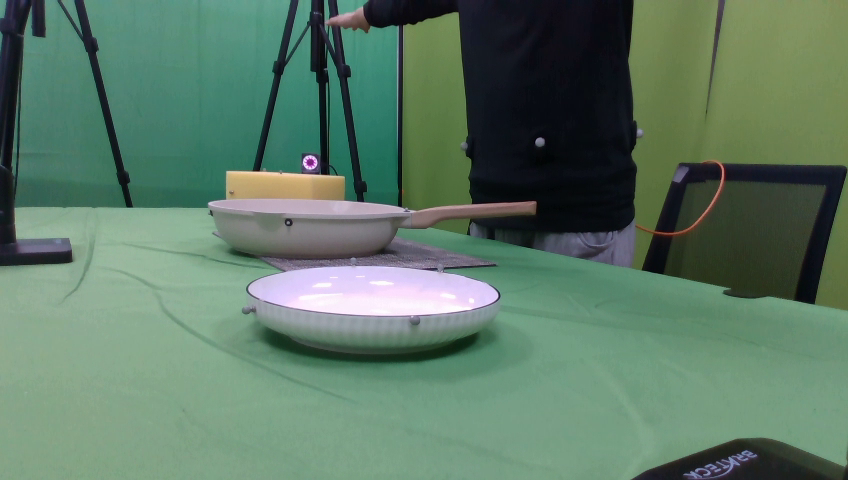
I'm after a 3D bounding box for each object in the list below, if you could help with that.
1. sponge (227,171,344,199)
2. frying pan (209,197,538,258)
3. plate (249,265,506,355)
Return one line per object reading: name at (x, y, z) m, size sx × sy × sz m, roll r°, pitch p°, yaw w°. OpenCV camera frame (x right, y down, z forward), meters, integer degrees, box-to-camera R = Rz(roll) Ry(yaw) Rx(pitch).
sponge at (-0.283, -0.108, 1.241) m, size 0.206 × 0.061 × 0.118 m, roll 5°, pitch 8°, yaw 23°
frying pan at (-0.075, -0.034, 0.912) m, size 0.487 × 0.102 × 0.307 m, roll -5°, pitch 7°, yaw 12°
plate at (-0.037, 0.056, 0.504) m, size 0.208 × 0.039 × 0.207 m, roll 2°, pitch 7°, yaw 0°
